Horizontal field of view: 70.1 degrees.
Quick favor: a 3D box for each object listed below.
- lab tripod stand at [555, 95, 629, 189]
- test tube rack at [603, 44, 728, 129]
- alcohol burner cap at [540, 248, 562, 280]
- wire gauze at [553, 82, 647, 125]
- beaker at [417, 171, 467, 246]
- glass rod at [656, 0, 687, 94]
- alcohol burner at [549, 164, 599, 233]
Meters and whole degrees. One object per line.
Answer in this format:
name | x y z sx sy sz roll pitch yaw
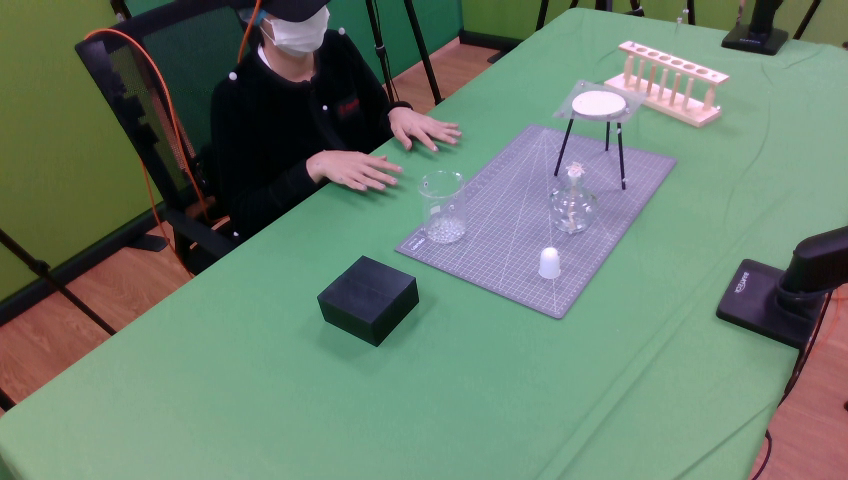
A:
lab tripod stand | 0.300 -0.174 1.045 0.148 0.132 0.147 -5 38 5
test tube rack | 0.480 -0.316 1.227 0.067 0.085 0.240 -28 44 -22
alcohol burner cap | 0.187 0.032 0.888 0.034 0.048 0.033 -4 40 4
wire gauze | 0.293 -0.226 1.002 0.120 0.011 0.125 17 45 27
beaker | 0.034 -0.049 0.965 0.084 0.101 0.073 -32 45 -27
glass rod | 0.491 -0.381 1.199 0.008 0.200 0.008 1 41 0
alcohol burner | 0.236 -0.069 0.946 0.078 0.119 0.077 -3 41 3
